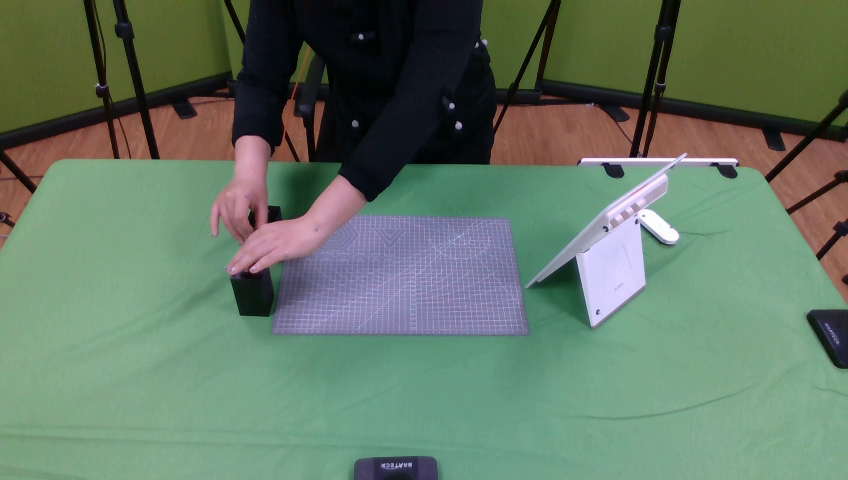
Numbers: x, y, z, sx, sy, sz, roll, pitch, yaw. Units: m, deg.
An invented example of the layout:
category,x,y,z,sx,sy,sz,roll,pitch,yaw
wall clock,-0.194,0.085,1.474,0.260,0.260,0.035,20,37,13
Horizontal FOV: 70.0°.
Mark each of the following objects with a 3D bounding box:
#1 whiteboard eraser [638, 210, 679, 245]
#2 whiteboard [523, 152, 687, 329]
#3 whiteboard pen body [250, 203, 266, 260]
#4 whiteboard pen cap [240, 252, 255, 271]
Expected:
category,x,y,z,sx,sy,sz,roll,pitch,yaw
whiteboard eraser,0.485,-0.026,1.260,0.041,0.019,0.100,-20,49,-22
whiteboard,0.346,0.025,1.046,0.217,0.306,0.143,-30,74,-29
whiteboard pen body,-0.291,-0.013,1.056,0.017,0.017,0.139,-1,46,-5
whiteboard pen cap,-0.292,0.035,1.004,0.017,0.017,0.032,9,42,4
